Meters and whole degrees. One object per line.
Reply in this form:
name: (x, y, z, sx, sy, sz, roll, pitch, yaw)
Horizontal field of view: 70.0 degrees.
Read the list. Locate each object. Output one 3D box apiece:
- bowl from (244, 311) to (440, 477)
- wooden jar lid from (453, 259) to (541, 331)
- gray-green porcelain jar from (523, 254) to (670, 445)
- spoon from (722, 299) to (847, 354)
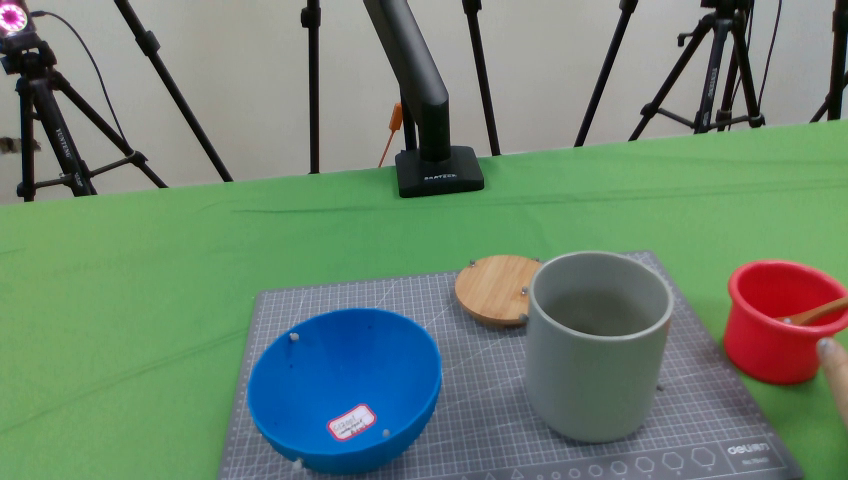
bowl: (-0.060, 0.135, 0.489, 0.151, 0.077, 0.150, -3, 35, 2)
wooden jar lid: (0.085, 0.058, 0.637, 0.108, 0.021, 0.107, -3, 33, 2)
gray-green porcelain jar: (0.133, 0.092, 0.488, 0.106, 0.127, 0.105, -3, 35, 2)
spoon: (0.344, 0.060, 0.503, 0.022, 0.194, 0.041, 50, 44, -5)
